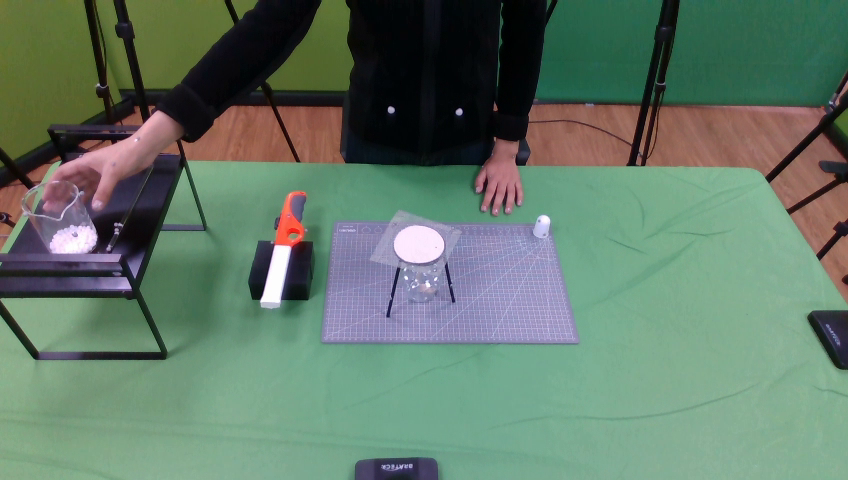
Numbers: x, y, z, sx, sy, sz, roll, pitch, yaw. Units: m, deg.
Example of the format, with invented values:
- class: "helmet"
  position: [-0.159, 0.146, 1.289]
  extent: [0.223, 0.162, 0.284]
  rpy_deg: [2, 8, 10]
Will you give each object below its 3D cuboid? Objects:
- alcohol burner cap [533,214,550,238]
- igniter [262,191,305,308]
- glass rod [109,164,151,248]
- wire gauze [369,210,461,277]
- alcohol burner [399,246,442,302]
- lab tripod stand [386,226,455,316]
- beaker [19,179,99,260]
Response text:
- class: "alcohol burner cap"
  position: [0.240, -0.030, 1.228]
  extent: [0.034, 0.048, 0.033]
  rpy_deg: [1, 46, -1]
- class: "igniter"
  position: [-0.254, 0.007, 1.103]
  extent: [0.057, 0.025, 0.275]
  rpy_deg: [5, 47, -4]
- class: "glass rod"
  position: [-0.472, -0.061, 0.979]
  extent: [0.008, 0.008, 0.198]
  rpy_deg: [1, 46, -3]
- class: "wire gauze"
  position: [-0.013, 0.006, 1.017]
  extent: [0.121, 0.011, 0.124]
  rpy_deg: [17, 49, 12]
- class: "alcohol burner"
  position: [-0.006, 0.055, 1.078]
  extent: [0.078, 0.119, 0.077]
  rpy_deg: [3, 44, -3]
- class: "lab tripod stand"
  position: [-0.013, 0.055, 1.064]
  extent: [0.148, 0.132, 0.147]
  rpy_deg: [2, 48, -2]
- class: "beaker"
  position: [-0.522, -0.024, 0.877]
  extent: [0.074, 0.101, 0.083]
  rpy_deg: [-26, 54, -25]
